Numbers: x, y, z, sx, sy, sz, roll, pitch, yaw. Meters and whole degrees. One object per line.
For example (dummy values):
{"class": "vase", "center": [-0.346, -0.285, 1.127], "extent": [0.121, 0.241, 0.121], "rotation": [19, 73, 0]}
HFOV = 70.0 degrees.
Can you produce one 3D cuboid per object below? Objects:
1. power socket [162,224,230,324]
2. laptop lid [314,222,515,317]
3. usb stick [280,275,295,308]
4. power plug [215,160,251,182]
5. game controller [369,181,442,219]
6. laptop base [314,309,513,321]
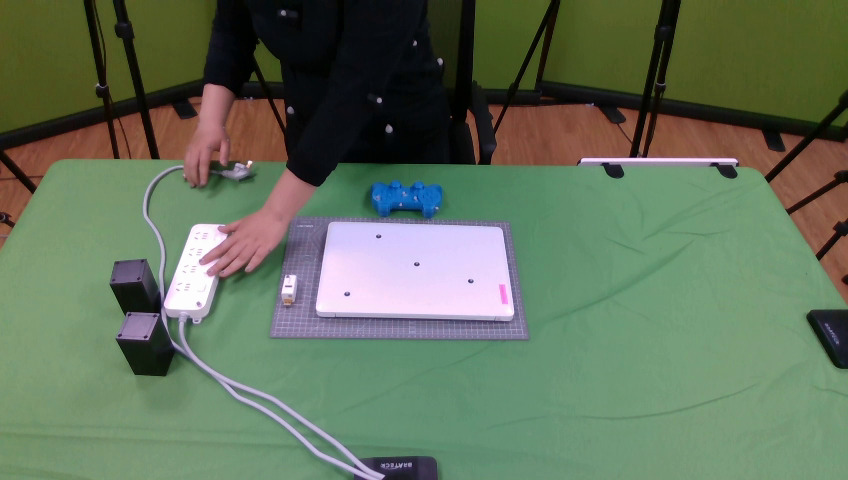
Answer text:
{"class": "power socket", "center": [-0.412, 0.052, 1.106], "extent": [0.072, 0.033, 0.225], "rotation": [4, 46, -4]}
{"class": "laptop lid", "center": [-0.016, 0.049, 1.134], "extent": [0.357, 0.013, 0.240], "rotation": [3, 43, -2]}
{"class": "usb stick", "center": [-0.244, 0.093, 1.081], "extent": [0.021, 0.027, 0.059], "rotation": [3, 48, -4]}
{"class": "power plug", "center": [-0.409, -0.155, 1.303], "extent": [0.072, 0.035, 0.052], "rotation": [22, 64, 0]}
{"class": "game controller", "center": [-0.039, -0.092, 1.268], "extent": [0.155, 0.052, 0.096], "rotation": [2, 50, -2]}
{"class": "laptop base", "center": [-0.017, 0.059, 1.141], "extent": [0.354, 0.023, 0.234], "rotation": [2, 43, -3]}
